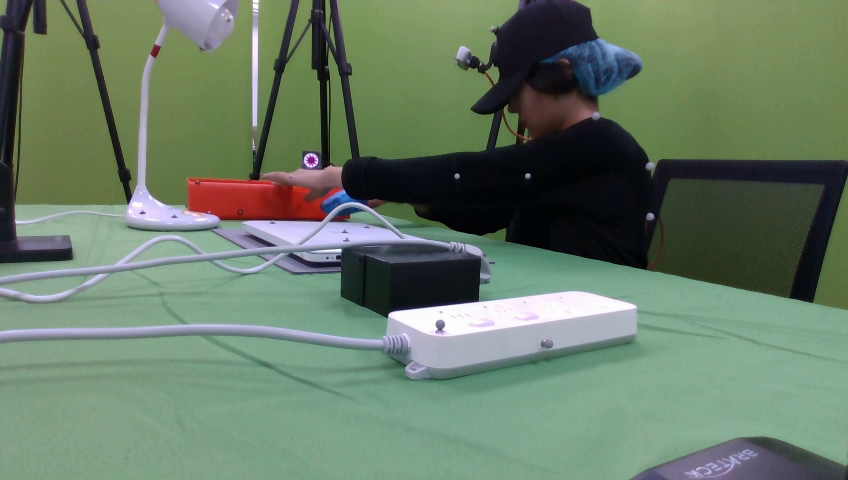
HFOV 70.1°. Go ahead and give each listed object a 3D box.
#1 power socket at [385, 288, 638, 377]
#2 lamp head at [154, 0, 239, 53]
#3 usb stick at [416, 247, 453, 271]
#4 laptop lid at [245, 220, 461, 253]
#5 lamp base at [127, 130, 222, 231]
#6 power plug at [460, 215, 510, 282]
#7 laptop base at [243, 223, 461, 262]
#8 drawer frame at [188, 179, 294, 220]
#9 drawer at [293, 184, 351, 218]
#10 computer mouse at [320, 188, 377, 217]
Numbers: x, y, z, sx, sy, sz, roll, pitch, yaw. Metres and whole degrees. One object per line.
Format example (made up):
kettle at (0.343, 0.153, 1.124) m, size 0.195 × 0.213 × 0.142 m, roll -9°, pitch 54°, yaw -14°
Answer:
power socket at (0.074, 0.064, 0.462) m, size 0.228 × 0.032 × 0.072 m, roll -3°, pitch 8°, yaw -34°
lamp head at (-0.406, -0.402, 1.059) m, size 0.123 × 0.112 × 0.112 m, roll 25°, pitch 6°, yaw -6°
usb stick at (0.010, 0.024, 0.755) m, size 0.027 × 0.021 × 0.059 m, roll 37°, pitch -17°, yaw -17°
laptop lid at (-0.124, -0.009, 0.945) m, size 0.243 × 0.013 × 0.355 m, roll 1°, pitch 7°, yaw -29°
lamp base at (-0.469, -0.112, 1.108) m, size 0.179 × 0.180 × 0.160 m, roll 0°, pitch 7°, yaw 3°
power plug at (0.064, 0.011, 0.624) m, size 0.053 × 0.072 × 0.035 m, roll -4°, pitch 39°, yaw -2°
laptop base at (-0.126, 0.003, 0.945) m, size 0.237 × 0.023 × 0.352 m, roll 2°, pitch 6°, yaw -31°
drawer frame at (-0.416, -0.094, 1.368) m, size 0.214 × 0.082 × 0.201 m, roll -2°, pitch 9°, yaw -23°
drawer at (-0.297, -0.094, 1.423) m, size 0.213 × 0.073 × 0.193 m, roll -2°, pitch 9°, yaw -25°
computer mouse at (-0.160, -0.082, 1.281) m, size 0.118 × 0.041 × 0.062 m, roll -20°, pitch 35°, yaw -37°
